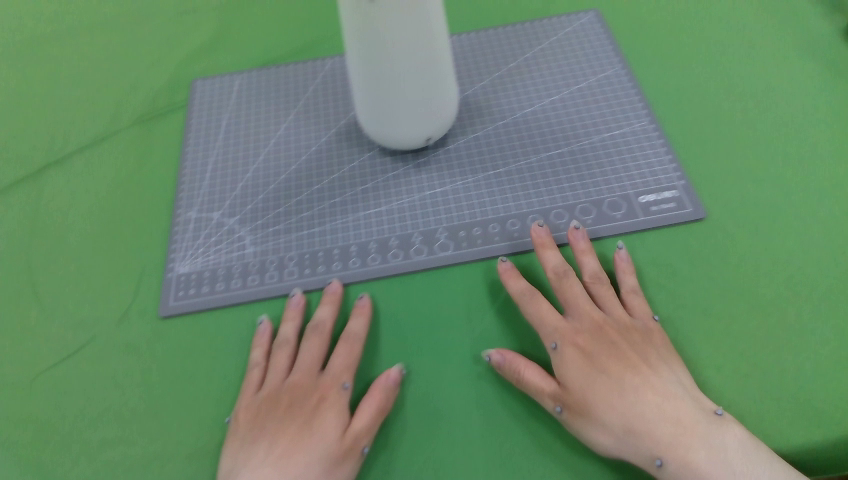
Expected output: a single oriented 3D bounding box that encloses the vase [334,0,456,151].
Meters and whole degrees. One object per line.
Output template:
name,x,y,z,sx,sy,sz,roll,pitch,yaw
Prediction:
vase,-0.027,-0.171,0.510,0.098,0.202,0.097,-4,52,5
